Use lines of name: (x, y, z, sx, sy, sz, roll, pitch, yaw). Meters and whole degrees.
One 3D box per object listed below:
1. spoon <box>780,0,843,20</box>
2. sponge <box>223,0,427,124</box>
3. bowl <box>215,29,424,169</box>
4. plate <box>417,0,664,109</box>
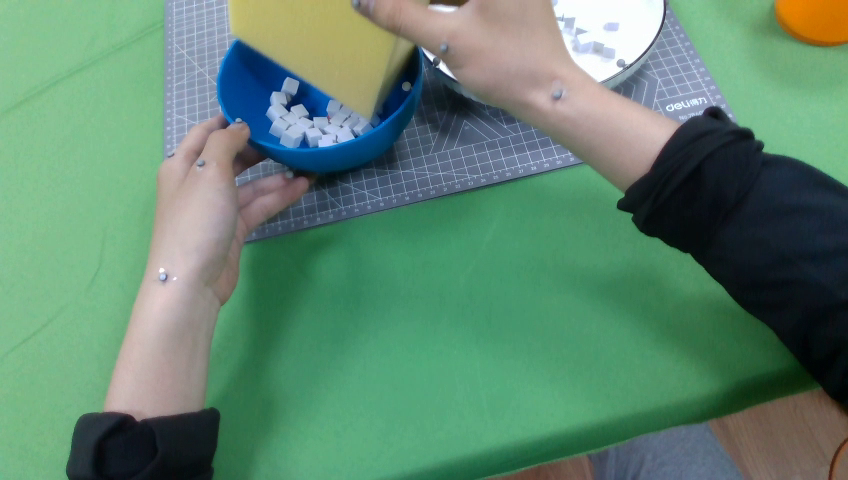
spoon: (0.360, -0.236, 0.445, 0.022, 0.194, 0.041, 5, 56, -42)
sponge: (-0.054, -0.172, 0.358, 0.118, 0.207, 0.060, 29, 65, -2)
bowl: (-0.071, -0.107, 0.465, 0.151, 0.077, 0.150, -2, 62, 4)
plate: (0.090, -0.189, 0.512, 0.209, 0.038, 0.207, -3, 63, 5)
